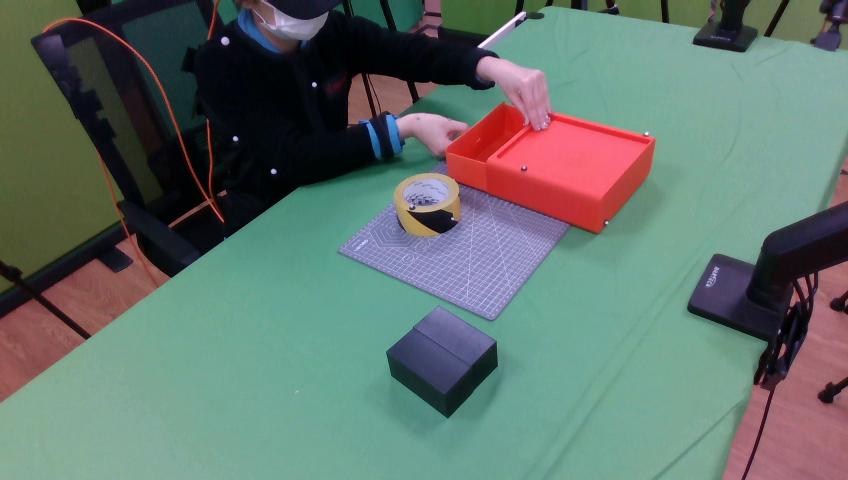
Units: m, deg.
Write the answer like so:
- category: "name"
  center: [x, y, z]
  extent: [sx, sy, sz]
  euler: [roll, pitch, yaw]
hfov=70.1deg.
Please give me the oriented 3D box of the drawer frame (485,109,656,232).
- category: "drawer frame"
  center: [0.247, -0.126, 1.029]
  extent: [0.212, 0.083, 0.202]
  euler: [24, 49, 30]

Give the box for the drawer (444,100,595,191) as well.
- category: "drawer"
  center: [0.176, -0.156, 1.075]
  extent: [0.210, 0.073, 0.195]
  euler: [23, 48, 31]

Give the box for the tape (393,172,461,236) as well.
- category: "tape"
  center: [0.005, -0.061, 1.012]
  extent: [0.117, 0.053, 0.116]
  euler: [-4, 40, 4]
